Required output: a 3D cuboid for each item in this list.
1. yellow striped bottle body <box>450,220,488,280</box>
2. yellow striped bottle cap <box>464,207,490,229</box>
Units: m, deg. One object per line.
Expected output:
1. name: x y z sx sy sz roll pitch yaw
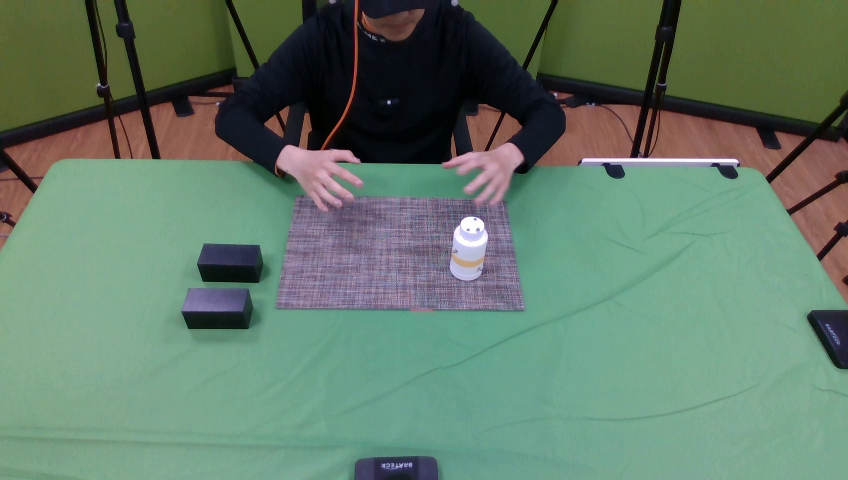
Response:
1. yellow striped bottle body: 0.083 0.012 1.117 0.063 0.121 0.062 2 46 -2
2. yellow striped bottle cap: 0.092 -0.039 1.064 0.044 0.019 0.044 5 39 -4
